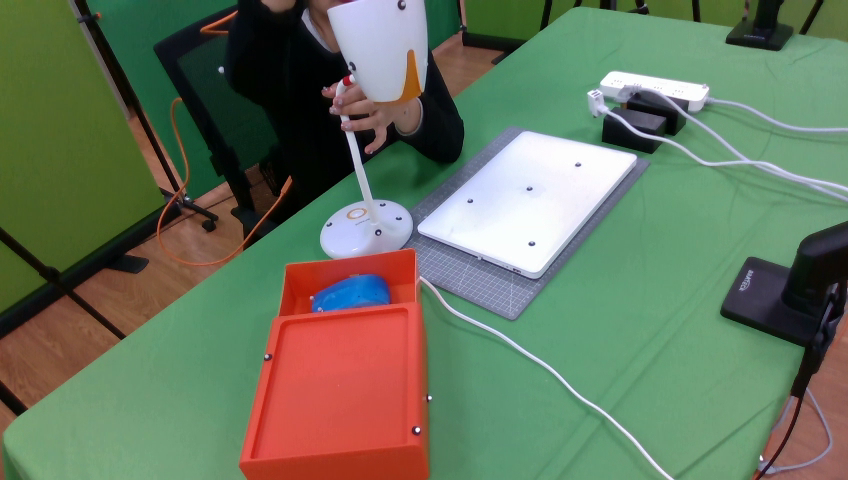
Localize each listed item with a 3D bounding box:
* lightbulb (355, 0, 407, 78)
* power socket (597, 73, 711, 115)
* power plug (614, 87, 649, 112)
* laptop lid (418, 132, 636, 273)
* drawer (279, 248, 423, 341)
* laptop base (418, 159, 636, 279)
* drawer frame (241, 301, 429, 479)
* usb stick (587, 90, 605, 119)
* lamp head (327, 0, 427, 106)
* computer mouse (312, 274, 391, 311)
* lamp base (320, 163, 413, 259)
[{"bbox_3d":[-0.046,-0.244,0.704,0.059,0.108,0.059,-8,18,3],"label":"lightbulb"},{"bbox_3d":[0.469,-0.304,1.249,0.225,0.033,0.072,20,49,30],"label":"power socket"},{"bbox_3d":[0.406,-0.275,1.193,0.035,0.053,0.072,-15,24,-16],"label":"power plug"},{"bbox_3d":[0.181,-0.084,1.036,0.239,0.013,0.358,22,49,35],"label":"laptop lid"},{"bbox_3d":[-0.100,0.114,0.828,0.194,0.073,0.210,-7,40,2],"label":"drawer"},{"bbox_3d":[0.185,-0.074,1.042,0.233,0.023,0.355,19,48,35],"label":"laptop base"},{"bbox_3d":[-0.096,0.183,0.741,0.202,0.083,0.212,-6,40,3],"label":"drawer frame"},{"bbox_3d":[0.334,-0.258,1.170,0.021,0.059,0.027,-28,44,-6],"label":"usb stick"},{"bbox_3d":[-0.047,-0.220,0.711,0.112,0.123,0.112,-8,24,4],"label":"lamp head"},{"bbox_3d":[-0.107,0.087,0.885,0.117,0.041,0.062,-14,40,0],"label":"computer mouse"},{"bbox_3d":[-0.102,-0.069,0.963,0.161,0.181,0.177,-29,46,-20],"label":"lamp base"}]
